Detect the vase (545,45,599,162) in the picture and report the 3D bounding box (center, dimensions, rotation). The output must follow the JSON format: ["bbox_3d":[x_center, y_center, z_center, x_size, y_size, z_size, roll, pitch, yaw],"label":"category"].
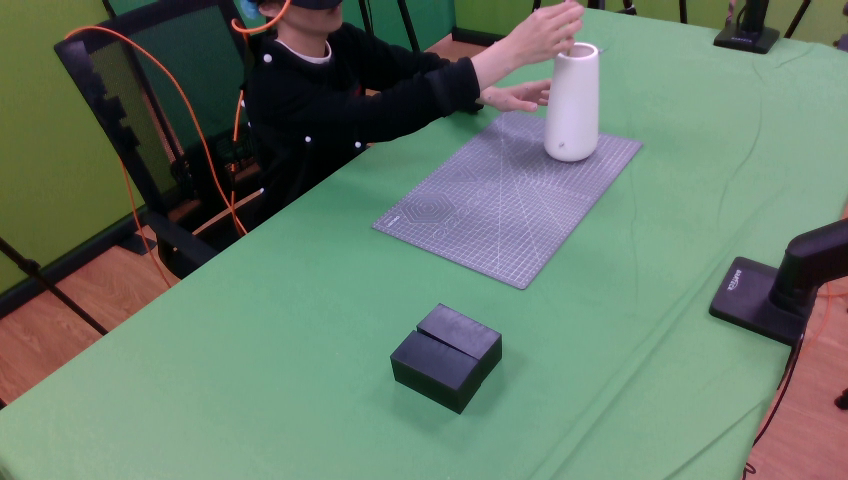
[{"bbox_3d":[0.267,-0.238,1.074,0.098,0.201,0.097,-4,42,4],"label":"vase"}]

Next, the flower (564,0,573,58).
[{"bbox_3d":[0.232,-0.328,0.973,0.038,0.363,0.043,-19,46,-13],"label":"flower"}]
